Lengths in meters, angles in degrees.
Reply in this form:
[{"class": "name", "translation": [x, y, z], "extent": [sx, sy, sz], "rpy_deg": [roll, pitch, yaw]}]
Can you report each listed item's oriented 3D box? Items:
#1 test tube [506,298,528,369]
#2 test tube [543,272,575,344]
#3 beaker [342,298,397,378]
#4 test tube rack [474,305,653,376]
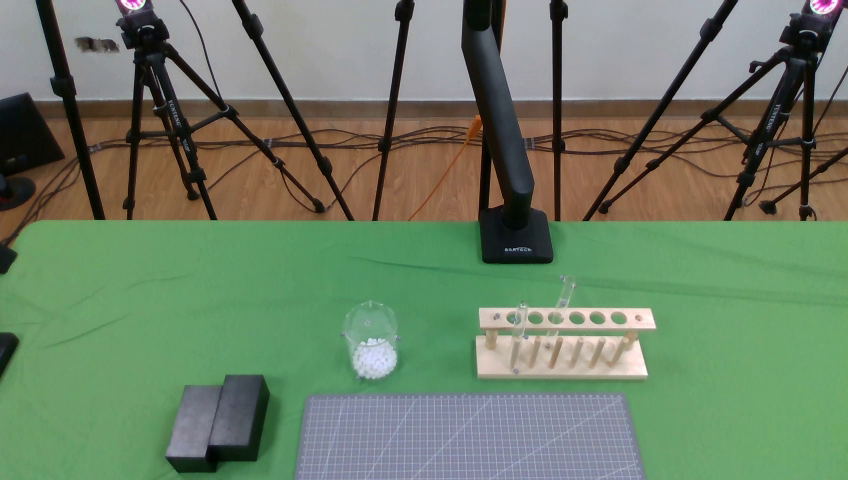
[{"class": "test tube", "translation": [0.125, 0.129, 0.821], "extent": [0.017, 0.152, 0.017], "rpy_deg": [0, 46, 0]}, {"class": "test tube", "translation": [0.186, 0.099, 0.842], "extent": [0.017, 0.151, 0.017], "rpy_deg": [2, 46, -2]}, {"class": "beaker", "translation": [-0.075, 0.142, 0.861], "extent": [0.074, 0.101, 0.083], "rpy_deg": [-3, 48, -3]}, {"class": "test tube rack", "translation": [0.197, 0.145, 0.867], "extent": [0.242, 0.086, 0.066], "rpy_deg": [0, 49, 0]}]
